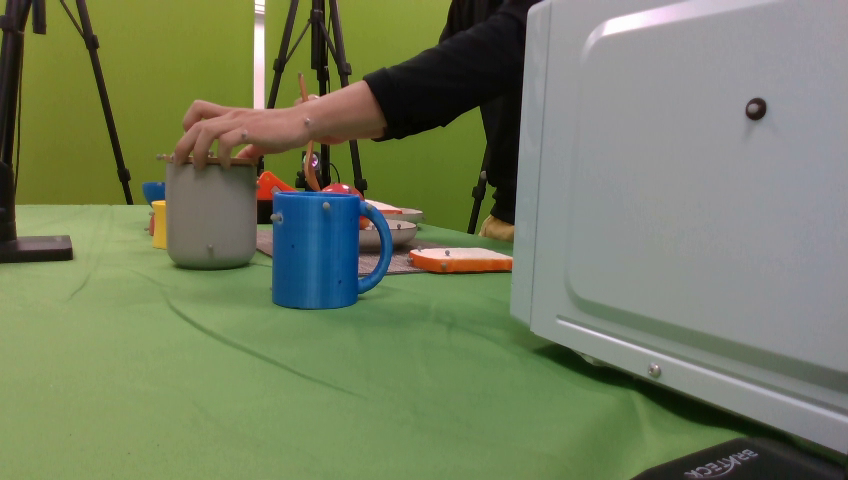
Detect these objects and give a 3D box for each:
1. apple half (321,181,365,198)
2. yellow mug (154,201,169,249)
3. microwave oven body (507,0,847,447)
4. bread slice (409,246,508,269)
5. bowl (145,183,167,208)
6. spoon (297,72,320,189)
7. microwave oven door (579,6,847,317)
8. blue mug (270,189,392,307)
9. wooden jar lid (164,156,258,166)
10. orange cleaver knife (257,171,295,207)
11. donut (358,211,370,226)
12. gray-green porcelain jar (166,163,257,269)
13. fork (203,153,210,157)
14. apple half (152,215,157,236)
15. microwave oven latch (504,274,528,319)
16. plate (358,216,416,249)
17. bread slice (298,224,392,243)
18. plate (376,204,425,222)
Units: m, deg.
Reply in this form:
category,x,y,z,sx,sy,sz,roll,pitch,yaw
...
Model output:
category,x,y,z,sx,sy,sz,roll,pitch,yaw
apple half,-0.128,-0.077,0.954,0.081,0.033,0.081,7,13,-1
yellow mug,-0.337,-0.023,0.899,0.130,0.064,0.100,8,10,34
microwave oven body,0.331,-0.042,0.425,0.444,0.260,0.324,-2,8,-31
bread slice,0.048,0.022,0.816,0.132,0.019,0.104,0,7,-24
bowl,-0.459,-0.069,1.175,0.151,0.077,0.151,3,7,0
spoon,-0.188,-0.177,0.983,0.021,0.193,0.041,-4,2,7
microwave oven door,0.294,-0.067,0.570,0.358,0.243,0.039,-3,9,-31
blue mug,-0.089,0.005,0.588,0.117,0.106,0.082,0,7,-10
wooden jar lid,-0.261,-0.093,0.746,0.108,0.020,0.108,1,9,0
orange cleaver knife,-0.283,-0.087,1.343,0.212,0.077,0.012,24,-16,-41
donut,-0.132,-0.042,0.959,0.099,0.048,0.099,2,7,0
gray-green porcelain jar,-0.263,-0.031,0.754,0.106,0.126,0.106,2,7,0
fork,-0.480,-0.135,1.411,0.028,0.018,0.207,1,-34,0
apple half,-0.415,-0.034,1.017,0.081,0.053,0.074,1,10,-9
microwave oven latch,0.100,0.041,0.470,0.079,0.029,0.030,-1,7,-26
plate,-0.117,-0.014,0.967,0.208,0.039,0.207,2,7,0
bread slice,-0.120,-0.012,0.969,0.106,0.018,0.135,10,10,40
plate,-0.102,-0.053,1.299,0.209,0.038,0.209,2,8,0
